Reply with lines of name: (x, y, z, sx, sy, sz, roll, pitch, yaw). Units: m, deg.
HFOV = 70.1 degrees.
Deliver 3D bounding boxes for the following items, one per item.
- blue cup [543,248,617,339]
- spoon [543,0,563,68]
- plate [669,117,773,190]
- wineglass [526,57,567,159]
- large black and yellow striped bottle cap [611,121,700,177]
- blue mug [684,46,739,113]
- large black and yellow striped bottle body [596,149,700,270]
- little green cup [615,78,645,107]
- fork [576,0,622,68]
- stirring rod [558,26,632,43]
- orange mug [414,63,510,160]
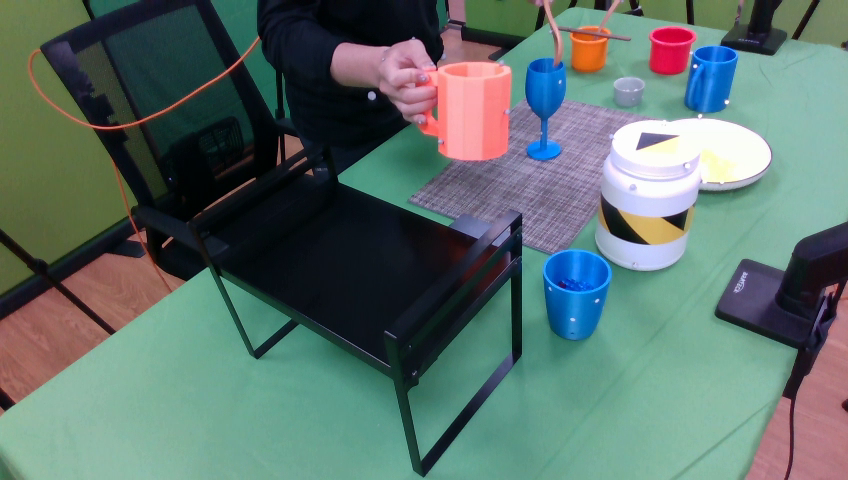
blue cup: (0.199, 0.076, 0.797, 0.092, 0.100, 0.092, -4, 39, 4)
spoon: (0.206, -0.383, 0.995, 0.021, 0.194, 0.041, -12, 6, 9)
plate: (0.495, -0.148, 1.063, 0.209, 0.038, 0.208, -5, 40, 4)
wineglass: (0.221, -0.237, 1.097, 0.074, 0.173, 0.073, -5, 41, 4)
large black and yellow striped bottle cap: (0.315, -0.126, 0.823, 0.115, 0.019, 0.114, -4, 42, 4)
blue mug: (0.556, -0.310, 1.190, 0.117, 0.106, 0.081, -32, 46, -25)
large black and yellow striped bottle body: (0.323, -0.062, 0.877, 0.131, 0.185, 0.130, -5, 40, 4)
little green cup: (0.426, -0.306, 1.257, 0.061, 0.039, 0.061, -4, 40, 4)
fork: (0.409, -0.484, 1.381, 0.028, 0.019, 0.207, 37, 101, 46)
stirring rod: (0.381, -0.462, 1.356, 0.175, 0.006, 0.014, 23, 48, 29)
orange mug: (0.044, -0.161, 0.732, 0.125, 0.101, 0.084, 21, 35, 27)
